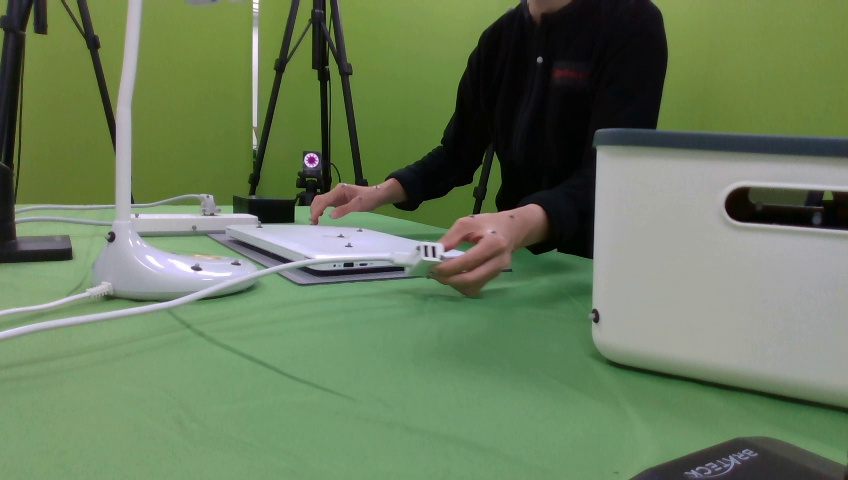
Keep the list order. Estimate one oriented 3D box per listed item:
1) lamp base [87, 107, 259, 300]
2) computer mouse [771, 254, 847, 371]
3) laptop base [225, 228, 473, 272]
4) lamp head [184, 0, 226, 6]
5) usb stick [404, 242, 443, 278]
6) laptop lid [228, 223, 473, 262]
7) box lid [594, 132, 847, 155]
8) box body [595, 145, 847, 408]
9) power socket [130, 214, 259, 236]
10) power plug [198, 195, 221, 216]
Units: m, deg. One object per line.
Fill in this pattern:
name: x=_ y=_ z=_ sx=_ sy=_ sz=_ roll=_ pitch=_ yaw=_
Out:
lamp base: x=-0.254 y=-0.039 z=0.603 sx=0.160 sy=0.180 sz=0.179 roll=5 pitch=10 yaw=18
computer mouse: x=0.344 y=0.057 z=0.519 sx=0.063 sy=0.041 sz=0.117 roll=12 pitch=47 yaw=3
laptop base: x=-0.125 y=0.011 z=0.889 sx=0.237 sy=0.023 sz=0.352 roll=1 pitch=7 yaw=-35
lamp head: x=-0.229 y=-0.320 z=0.627 sx=0.112 sy=0.112 sz=0.123 roll=6 pitch=-35 yaw=26
usb stick: x=-0.004 y=0.024 z=0.626 sx=0.027 sy=0.021 sz=0.059 roll=1 pitch=-26 yaw=-21
laptop lid: x=-0.123 y=0.000 z=0.888 sx=0.243 sy=0.013 sz=0.355 roll=1 pitch=7 yaw=-33
box lid: x=0.310 y=-0.066 z=0.499 sx=0.262 sy=0.015 sz=0.373 roll=7 pitch=8 yaw=29
box body: x=0.309 y=0.006 z=0.509 sx=0.253 sy=0.160 sz=0.366 roll=6 pitch=8 yaw=29
power socket: x=-0.397 y=-0.028 z=1.048 sx=0.228 sy=0.032 sz=0.072 roll=-3 pitch=7 yaw=-35
power plug: x=-0.385 y=-0.055 z=1.088 sx=0.035 sy=0.052 sz=0.072 roll=-1 pitch=6 yaw=-24
